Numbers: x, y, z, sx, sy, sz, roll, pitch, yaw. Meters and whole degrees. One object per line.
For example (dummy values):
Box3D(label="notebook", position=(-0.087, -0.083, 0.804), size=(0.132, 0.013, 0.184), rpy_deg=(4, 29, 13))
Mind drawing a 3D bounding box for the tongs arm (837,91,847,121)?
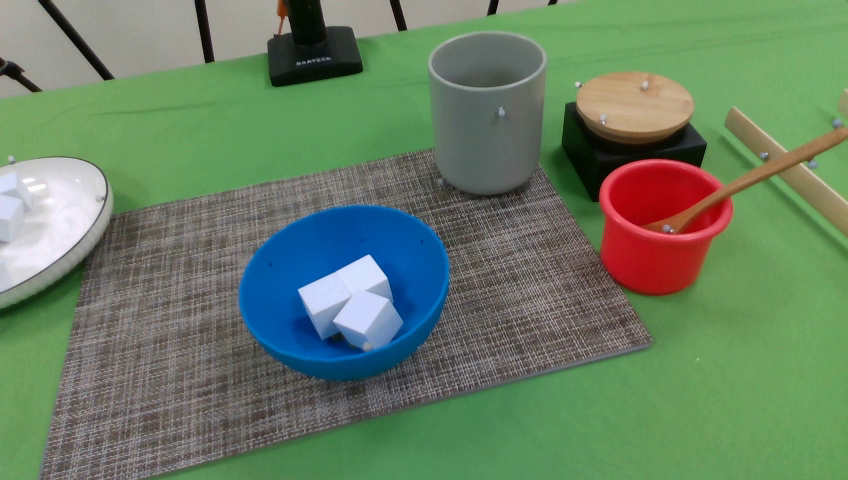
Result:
Box3D(label="tongs arm", position=(0.442, -0.013, 0.503), size=(0.051, 0.027, 0.380), rpy_deg=(-7, 44, -4))

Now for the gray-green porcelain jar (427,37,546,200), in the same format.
Box3D(label="gray-green porcelain jar", position=(0.059, -0.111, 0.577), size=(0.106, 0.128, 0.105), rpy_deg=(-3, 45, 3))

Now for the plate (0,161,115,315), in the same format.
Box3D(label="plate", position=(-0.398, 0.002, 0.578), size=(0.209, 0.038, 0.207), rpy_deg=(-4, 45, 4))

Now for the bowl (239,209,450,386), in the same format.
Box3D(label="bowl", position=(-0.053, 0.054, 0.456), size=(0.151, 0.077, 0.150), rpy_deg=(-3, 44, 3))

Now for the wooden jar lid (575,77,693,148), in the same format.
Box3D(label="wooden jar lid", position=(0.201, -0.123, 0.585), size=(0.108, 0.021, 0.107), rpy_deg=(-4, 44, 4))

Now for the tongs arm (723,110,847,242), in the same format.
Box3D(label="tongs arm", position=(0.373, -0.001, 0.497), size=(0.028, 0.028, 0.383), rpy_deg=(-11, 44, -13))

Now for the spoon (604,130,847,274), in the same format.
Box3D(label="spoon", position=(0.225, -0.026, 0.466), size=(0.194, 0.022, 0.041), rpy_deg=(-38, 32, 34))
